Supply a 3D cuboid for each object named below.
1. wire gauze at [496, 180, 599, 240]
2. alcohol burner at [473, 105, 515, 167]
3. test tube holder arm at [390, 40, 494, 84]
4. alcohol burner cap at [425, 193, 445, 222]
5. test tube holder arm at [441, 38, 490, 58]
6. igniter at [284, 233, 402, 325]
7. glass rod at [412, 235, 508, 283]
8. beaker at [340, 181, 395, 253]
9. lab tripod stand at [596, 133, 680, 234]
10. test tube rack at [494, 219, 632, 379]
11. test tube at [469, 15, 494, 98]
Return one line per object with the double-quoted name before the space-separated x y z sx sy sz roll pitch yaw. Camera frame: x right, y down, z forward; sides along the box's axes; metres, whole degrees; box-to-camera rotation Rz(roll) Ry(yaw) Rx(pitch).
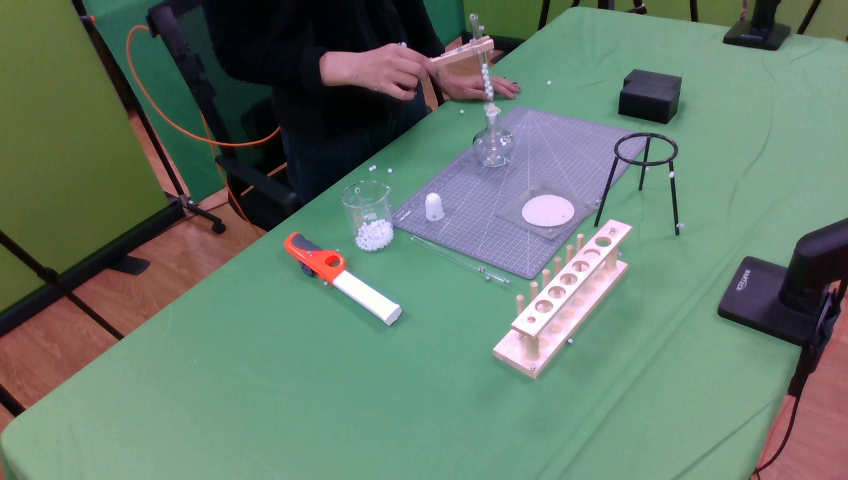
"wire gauze" 0.206 -0.050 1.012 0.125 0.011 0.120 -34 45 -26
"alcohol burner" 0.128 -0.196 1.116 0.078 0.119 0.077 -4 40 4
"test tube holder arm" 0.029 -0.291 0.988 0.178 0.015 0.013 -21 37 -4
"alcohol burner cap" 0.017 -0.058 1.029 0.034 0.048 0.033 -6 40 5
"test tube holder arm" 0.069 -0.311 0.997 0.088 0.015 0.010 -25 38 -9
"igniter" -0.136 0.054 0.942 0.274 0.025 0.057 30 63 37
"glass rod" 0.051 0.028 0.951 0.198 0.008 0.008 25 52 37
"beaker" -0.086 -0.037 0.985 0.084 0.101 0.073 -18 41 -11
"lab tripod stand" 0.338 -0.090 0.940 0.148 0.132 0.147 -7 39 6
"test tube rack" 0.191 0.068 0.818 0.066 0.085 0.243 25 51 35
"test tube" 0.097 -0.303 1.011 0.017 0.151 0.017 -11 44 11
